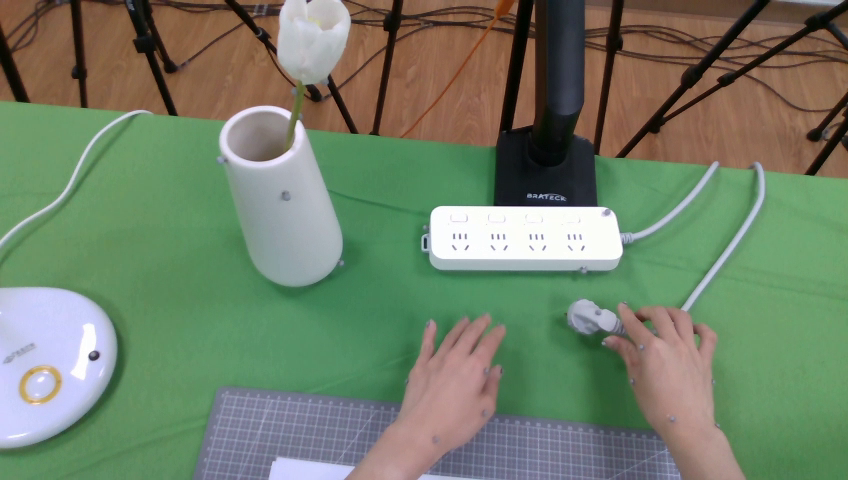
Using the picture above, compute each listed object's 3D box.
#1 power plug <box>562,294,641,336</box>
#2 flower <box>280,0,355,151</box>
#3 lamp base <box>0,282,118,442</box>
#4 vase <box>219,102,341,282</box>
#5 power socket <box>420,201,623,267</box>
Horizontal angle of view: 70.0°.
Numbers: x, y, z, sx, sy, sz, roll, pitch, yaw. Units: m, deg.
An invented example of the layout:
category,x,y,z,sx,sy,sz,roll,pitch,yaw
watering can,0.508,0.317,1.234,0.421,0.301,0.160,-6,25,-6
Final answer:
category,x,y,z,sx,sy,sz,roll,pitch,yaw
power plug,0.176,0.085,0.619,0.073,0.052,0.035,43,72,-8
flower,-0.117,-0.073,0.512,0.044,0.362,0.038,-34,82,-29
lamp base,-0.390,0.067,0.525,0.178,0.182,0.160,34,63,21
vase,-0.138,-0.040,0.587,0.098,0.201,0.097,0,58,0
power socket,0.109,-0.007,0.673,0.227,0.033,0.071,1,60,-2
